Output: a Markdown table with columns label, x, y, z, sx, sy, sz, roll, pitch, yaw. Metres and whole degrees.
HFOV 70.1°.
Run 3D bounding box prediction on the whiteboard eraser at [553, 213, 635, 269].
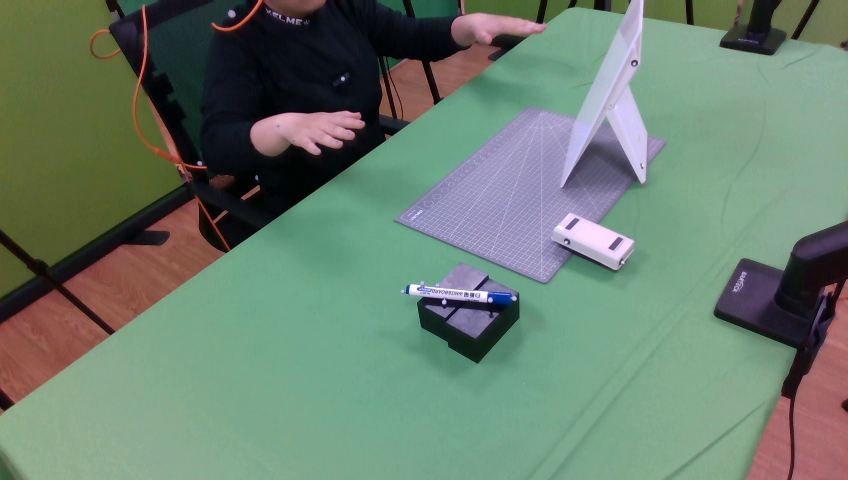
| label | x | y | z | sx | sy | sz | roll | pitch | yaw |
| --- | --- | --- | --- | --- | --- | --- | --- | --- | --- |
| whiteboard eraser | 0.257 | 0.003 | 0.918 | 0.112 | 0.042 | 0.056 | 27 | 49 | 30 |

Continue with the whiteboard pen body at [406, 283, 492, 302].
| label | x | y | z | sx | sy | sz | roll | pitch | yaw |
| --- | --- | --- | --- | --- | --- | --- | --- | --- | --- |
| whiteboard pen body | 0.044 | 0.072 | 0.812 | 0.140 | 0.017 | 0.017 | 4 | 42 | 14 |

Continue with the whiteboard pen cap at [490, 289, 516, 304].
| label | x | y | z | sx | sy | sz | roll | pitch | yaw |
| --- | --- | --- | --- | --- | --- | --- | --- | --- | --- |
| whiteboard pen cap | 0.105 | 0.074 | 0.798 | 0.033 | 0.018 | 0.018 | -8 | 37 | -28 |

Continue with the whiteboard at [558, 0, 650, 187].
| label | x | y | z | sx | sy | sz | roll | pitch | yaw |
| --- | --- | --- | --- | --- | --- | --- | --- | --- | --- |
| whiteboard | 0.361 | -0.238 | 1.026 | 0.144 | 0.306 | 0.217 | 21 | 45 | 4 |
